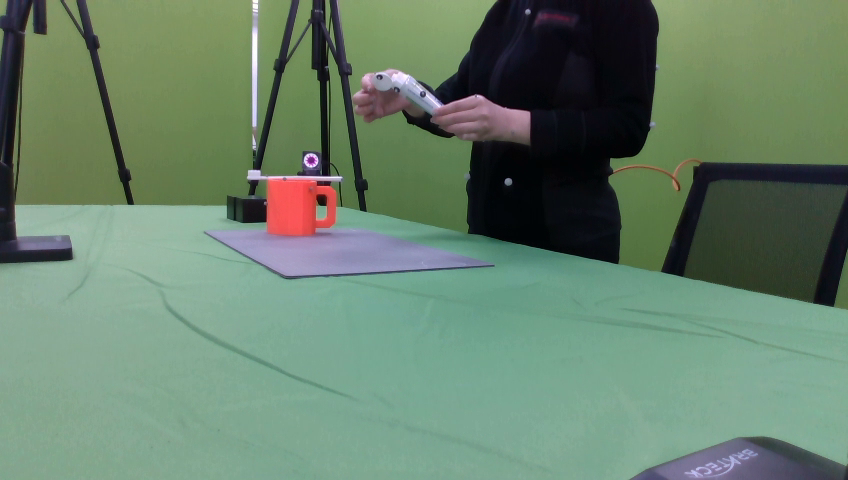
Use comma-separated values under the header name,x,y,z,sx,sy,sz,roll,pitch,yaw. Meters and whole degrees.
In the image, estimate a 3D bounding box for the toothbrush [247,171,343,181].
name,x,y,z,sx,sy,sz,roll,pitch,yaw
toothbrush,-0.230,-0.115,1.092,0.183,0.016,0.014,-2,5,-35

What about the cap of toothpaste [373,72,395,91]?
name,x,y,z,sx,sy,sz,roll,pitch,yaw
cap of toothpaste,-0.065,-0.257,0.975,0.037,0.011,0.037,0,-35,0

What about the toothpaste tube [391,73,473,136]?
name,x,y,z,sx,sy,sz,roll,pitch,yaw
toothpaste tube,0.014,-0.225,1.007,0.165,0.034,0.055,32,24,-12

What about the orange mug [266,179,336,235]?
name,x,y,z,sx,sy,sz,roll,pitch,yaw
orange mug,-0.222,-0.062,1.094,0.127,0.101,0.083,-5,10,-22
